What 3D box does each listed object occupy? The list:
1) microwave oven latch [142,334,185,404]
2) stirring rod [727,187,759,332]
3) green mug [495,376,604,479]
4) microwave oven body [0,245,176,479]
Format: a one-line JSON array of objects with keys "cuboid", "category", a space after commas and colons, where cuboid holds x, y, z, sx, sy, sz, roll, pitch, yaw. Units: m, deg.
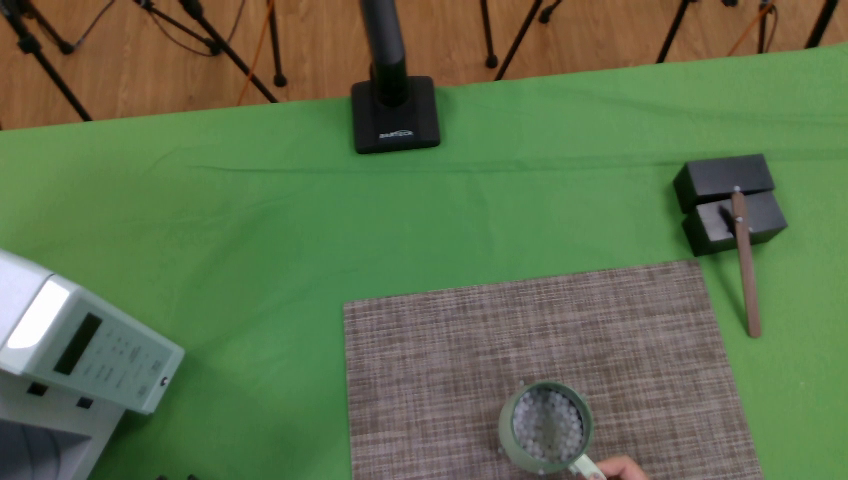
[{"cuboid": [-0.306, 0.145, 0.693, 0.030, 0.030, 0.079, 22, 70, 9], "category": "microwave oven latch"}, {"cuboid": [0.382, 0.024, 0.725, 0.014, 0.006, 0.176, -9, 92, 9], "category": "stirring rod"}, {"cuboid": [0.133, 0.198, 0.619, 0.092, 0.105, 0.124, -40, 73, -11], "category": "green mug"}, {"cuboid": [-0.511, 0.211, 0.565, 0.325, 0.262, 0.439, 20, 70, 9], "category": "microwave oven body"}]
